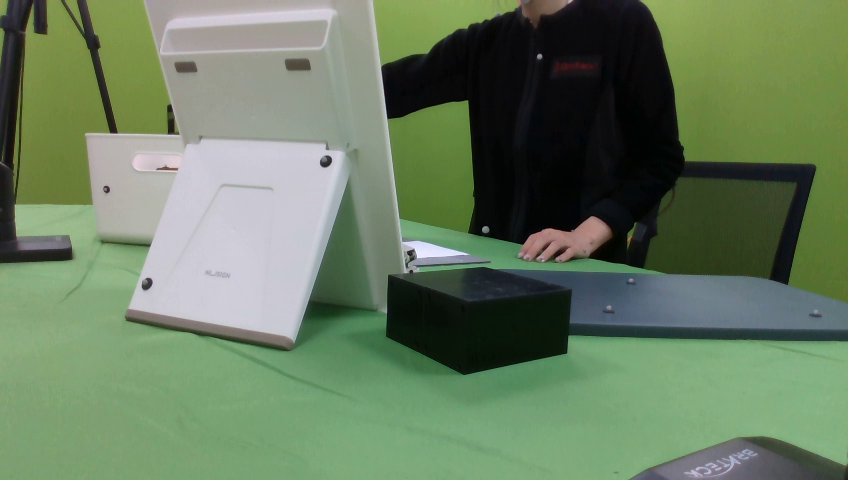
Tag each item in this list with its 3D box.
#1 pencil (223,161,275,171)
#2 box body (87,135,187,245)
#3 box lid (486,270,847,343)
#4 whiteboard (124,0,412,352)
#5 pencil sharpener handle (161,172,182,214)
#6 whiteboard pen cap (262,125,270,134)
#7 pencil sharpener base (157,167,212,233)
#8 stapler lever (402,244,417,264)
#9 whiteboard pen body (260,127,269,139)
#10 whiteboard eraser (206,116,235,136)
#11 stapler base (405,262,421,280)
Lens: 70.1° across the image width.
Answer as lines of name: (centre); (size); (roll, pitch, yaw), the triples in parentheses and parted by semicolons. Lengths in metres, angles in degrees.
pencil: (-0.297, -0.128, 1.037); (0.012, 0.012, 0.194); (4, 5, 9)
box body: (-0.338, -0.088, 1.022); (0.254, 0.160, 0.364); (3, 7, 9)
box lid: (0.266, 0.066, 0.643); (0.372, 0.015, 0.263); (2, 7, -5)
whiteboard: (-0.151, -0.049, 0.472); (0.216, 0.305, 0.144); (6, 27, 24)
pencil sharpener handle: (-0.410, -0.075, 0.973); (0.036, 0.067, 0.031); (-12, 5, 11)
whiteboard pen cap: (-0.349, -0.244, 1.337); (0.018, 0.018, 0.033); (0, 2, -17)
pencil sharpener base: (-0.406, -0.069, 1.025); (0.061, 0.107, 0.077); (2, 8, 9)
stapler lever: (-0.066, 0.003, 0.755); (0.117, 0.040, 0.027); (9, 13, 23)
whiteboard pen body: (-0.366, -0.247, 1.392); (0.017, 0.017, 0.140); (0, 3, -17)
whiteboard eraser: (-0.450, -0.252, 1.335); (0.056, 0.042, 0.112); (1, 7, -22)
stapler base: (-0.069, 0.027, 0.759); (0.130, 0.024, 0.041); (9, 13, 23)
